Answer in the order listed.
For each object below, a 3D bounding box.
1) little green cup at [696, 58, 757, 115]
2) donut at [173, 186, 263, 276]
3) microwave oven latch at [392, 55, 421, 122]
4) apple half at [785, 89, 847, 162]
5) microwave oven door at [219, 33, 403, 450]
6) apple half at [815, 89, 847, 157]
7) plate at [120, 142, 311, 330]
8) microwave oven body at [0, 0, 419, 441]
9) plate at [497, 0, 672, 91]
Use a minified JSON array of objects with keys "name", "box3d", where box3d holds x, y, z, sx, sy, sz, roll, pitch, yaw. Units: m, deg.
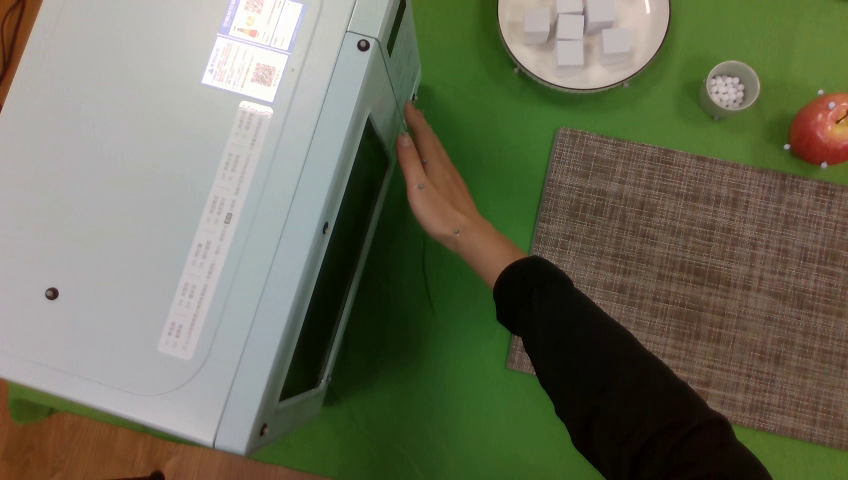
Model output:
[{"name":"little green cup","box3d":[0.359,-0.181,0.725,0.061,0.039,0.061,0,83,4]},{"name":"donut","box3d":[-0.224,-0.009,0.659,0.099,0.048,0.099,0,85,5]},{"name":"microwave oven latch","box3d":[-0.026,-0.185,0.728,0.030,0.029,0.079,17,85,5]},{"name":"apple half","box3d":[0.448,-0.126,0.696,0.053,0.075,0.080,-14,86,7]},{"name":"microwave oven door","box3d":[-0.097,0.010,0.605,0.039,0.244,0.355,16,84,5]},{"name":"apple half","box3d":[0.486,-0.136,0.694,0.033,0.081,0.081,-14,82,6]},{"name":"plate","box3d":[-0.226,-0.004,0.673,0.209,0.038,0.208,0,83,3]},{"name":"microwave oven body","box3d":[-0.224,-0.070,0.628,0.326,0.261,0.440,16,85,5]},{"name":"plate","box3d":[0.194,-0.280,0.746,0.207,0.039,0.207,0,83,3]}]
